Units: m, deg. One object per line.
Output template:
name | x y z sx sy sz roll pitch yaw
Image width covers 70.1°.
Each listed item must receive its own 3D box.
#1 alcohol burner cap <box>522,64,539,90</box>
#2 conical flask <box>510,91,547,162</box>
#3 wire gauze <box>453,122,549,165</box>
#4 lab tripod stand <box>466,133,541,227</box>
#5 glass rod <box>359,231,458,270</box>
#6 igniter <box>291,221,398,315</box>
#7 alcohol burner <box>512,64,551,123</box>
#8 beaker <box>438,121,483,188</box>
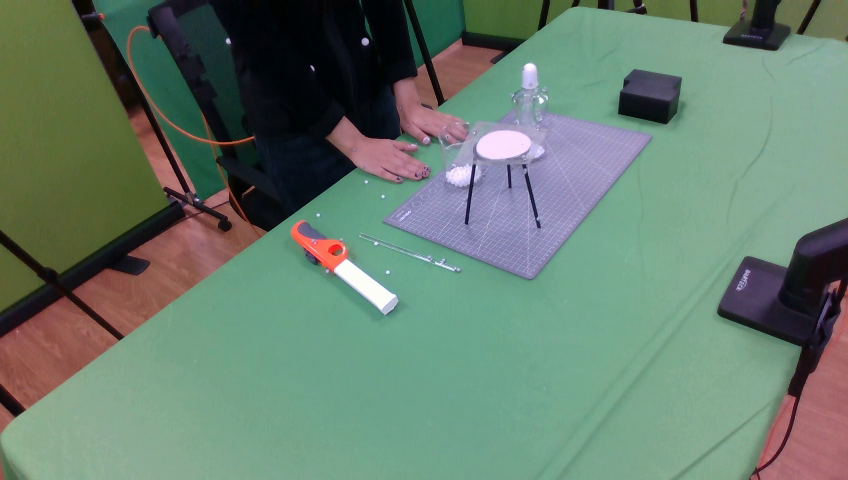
alcohol burner cap | 0.210 -0.325 1.195 0.034 0.048 0.033 -6 46 7
conical flask | 0.189 -0.212 1.116 0.075 0.122 0.075 -6 40 5
wire gauze | 0.122 -0.150 0.942 0.121 0.011 0.125 8 42 21
lab tripod stand | 0.130 -0.099 0.985 0.148 0.132 0.147 -6 38 6
glass rod | -0.029 0.016 0.982 0.198 0.008 0.008 20 49 30
igniter | -0.136 0.037 0.963 0.057 0.025 0.274 -41 48 -18
alcohol burner | 0.215 -0.298 1.220 0.078 0.120 0.077 -7 40 7
beaker | 0.066 -0.149 1.084 0.073 0.101 0.084 20 49 31
